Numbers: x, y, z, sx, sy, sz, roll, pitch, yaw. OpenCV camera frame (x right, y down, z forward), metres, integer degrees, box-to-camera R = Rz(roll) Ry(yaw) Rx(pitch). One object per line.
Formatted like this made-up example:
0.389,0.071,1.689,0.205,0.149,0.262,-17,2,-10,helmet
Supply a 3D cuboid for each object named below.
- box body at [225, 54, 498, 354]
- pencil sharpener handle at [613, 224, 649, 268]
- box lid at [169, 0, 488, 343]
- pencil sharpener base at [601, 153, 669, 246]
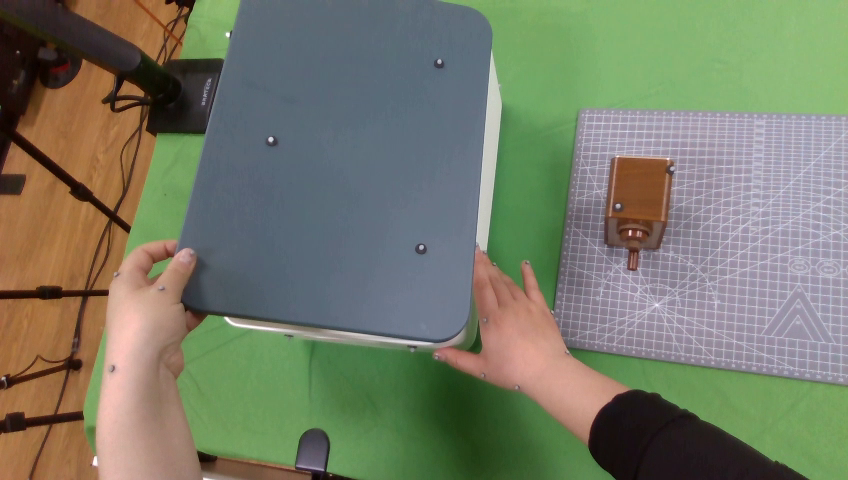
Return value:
-0.055,-0.055,0.716,0.253,0.161,0.362,2,75,16,box body
0.217,0.008,0.634,0.036,0.068,0.030,3,75,25,pencil sharpener handle
-0.074,-0.095,0.586,0.264,0.015,0.369,8,70,-8,box lid
0.226,-0.038,0.658,0.061,0.108,0.076,6,76,17,pencil sharpener base
